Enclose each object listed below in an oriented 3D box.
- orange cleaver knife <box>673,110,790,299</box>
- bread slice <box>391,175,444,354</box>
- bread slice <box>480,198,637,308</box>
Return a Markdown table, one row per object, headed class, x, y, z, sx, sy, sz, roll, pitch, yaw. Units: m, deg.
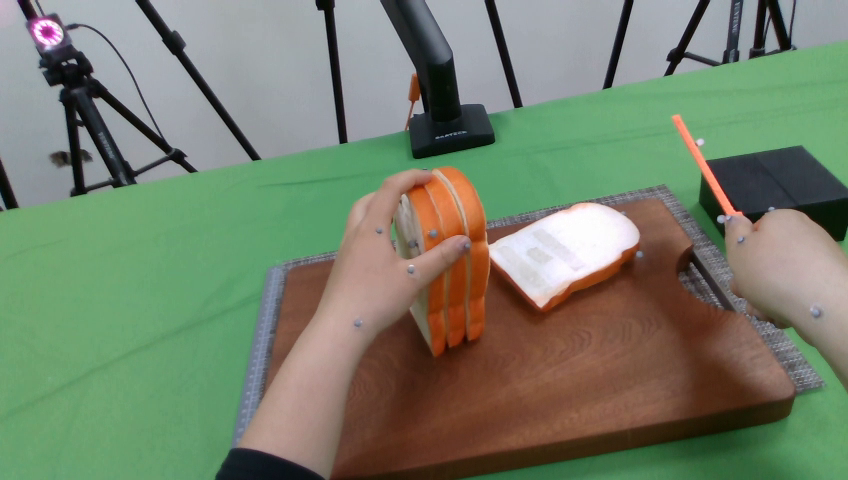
| class | x | y | z | sx | sy | sz | roll | pitch | yaw |
| --- | --- | --- | --- | --- | --- | --- | --- | --- | --- |
| orange cleaver knife | 0.236 | -0.028 | 0.472 | 0.012 | 0.078 | 0.209 | -28 | 39 | 23 |
| bread slice | -0.007 | 0.012 | 0.519 | 0.018 | 0.135 | 0.106 | -12 | 32 | -15 |
| bread slice | 0.133 | 0.006 | 0.571 | 0.131 | 0.019 | 0.103 | -27 | 37 | -10 |
